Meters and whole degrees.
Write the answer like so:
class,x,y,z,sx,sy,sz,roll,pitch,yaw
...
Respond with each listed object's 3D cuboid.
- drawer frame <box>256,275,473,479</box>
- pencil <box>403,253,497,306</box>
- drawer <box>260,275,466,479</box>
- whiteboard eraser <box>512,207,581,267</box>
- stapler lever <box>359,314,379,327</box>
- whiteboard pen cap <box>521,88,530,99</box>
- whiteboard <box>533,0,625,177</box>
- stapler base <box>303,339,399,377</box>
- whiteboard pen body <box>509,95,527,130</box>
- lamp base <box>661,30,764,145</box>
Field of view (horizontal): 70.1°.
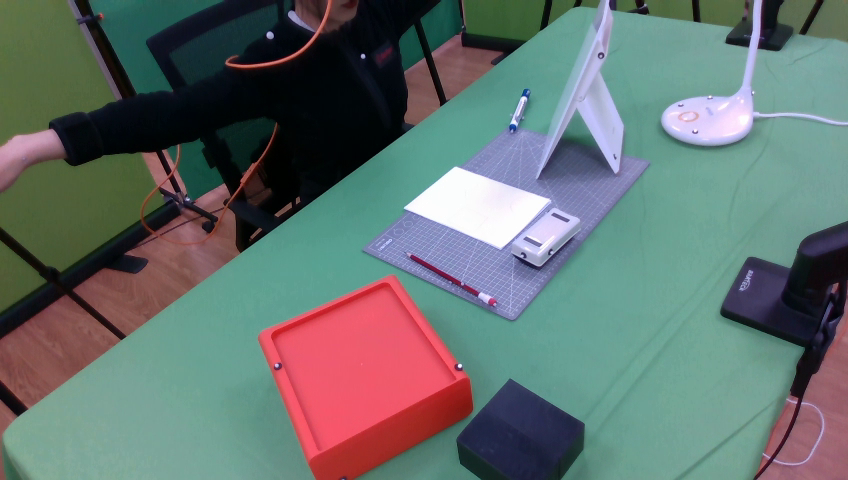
class,x,y,z,sx,sy,sz,roll,pitch,yaw
drawer frame,-0.078,0.164,0.756,0.202,0.083,0.211,-23,43,-17
pencil,0.034,0.056,0.914,0.192,0.012,0.012,27,52,38
drawer,-0.080,0.163,0.760,0.195,0.073,0.210,-22,42,-16
whiteboard eraser,0.189,-0.003,0.930,0.055,0.042,0.113,27,52,36
stapler lever,-0.106,0.127,0.792,0.118,0.040,0.026,-14,26,2
whiteboard pen cap,0.218,-0.313,1.301,0.018,0.018,0.033,6,46,18
whiteboard,0.321,-0.258,1.049,0.144,0.306,0.217,21,45,4
stapler base,-0.099,0.150,0.806,0.130,0.024,0.041,-12,25,1
whiteboard pen body,0.199,-0.273,1.261,0.017,0.017,0.140,7,44,19
lamp base,0.535,-0.287,1.096,0.179,0.181,0.159,-10,40,-4
